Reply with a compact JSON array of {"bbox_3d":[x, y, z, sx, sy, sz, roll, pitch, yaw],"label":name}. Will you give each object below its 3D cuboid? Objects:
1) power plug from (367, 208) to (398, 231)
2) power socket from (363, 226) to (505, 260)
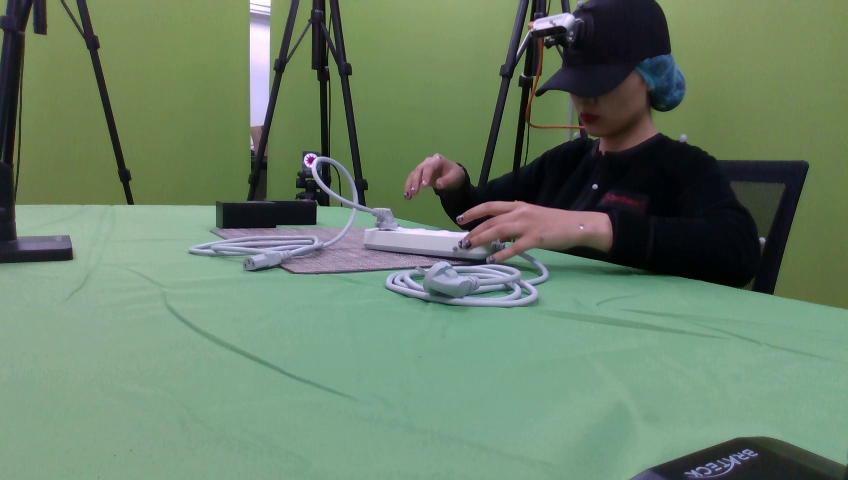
[{"bbox_3d":[-0.070,-0.023,0.916,0.035,0.052,0.073,7,8,40],"label":"power plug"},{"bbox_3d":[0.008,0.002,0.908,0.226,0.032,0.072,6,9,30],"label":"power socket"}]
